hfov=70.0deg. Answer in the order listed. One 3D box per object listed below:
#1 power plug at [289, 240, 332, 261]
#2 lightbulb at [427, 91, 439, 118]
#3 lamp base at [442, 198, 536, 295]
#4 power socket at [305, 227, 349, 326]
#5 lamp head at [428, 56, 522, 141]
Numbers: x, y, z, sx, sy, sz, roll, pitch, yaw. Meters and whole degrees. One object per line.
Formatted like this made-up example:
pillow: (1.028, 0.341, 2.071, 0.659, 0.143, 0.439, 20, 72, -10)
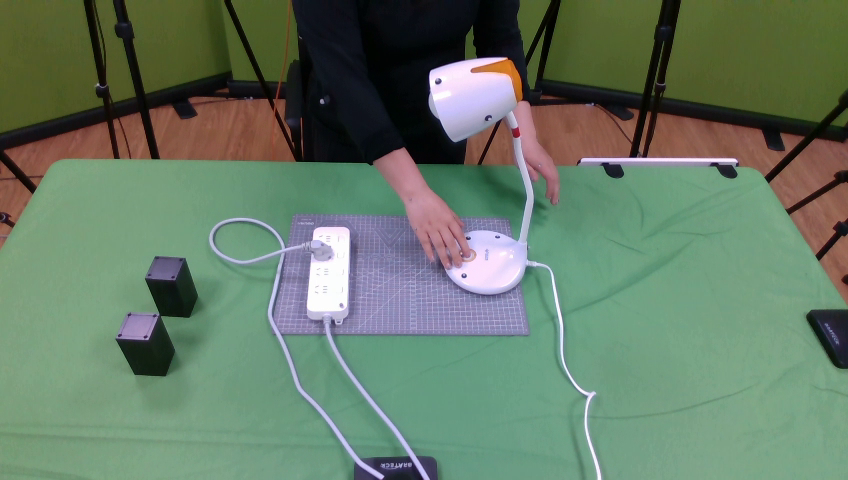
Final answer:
power plug: (-0.207, 0.022, 1.123, 0.072, 0.053, 0.035, 6, 44, 5)
lightbulb: (0.056, -0.213, 0.888, 0.107, 0.060, 0.059, -12, 41, 23)
lamp base: (0.131, -0.013, 1.105, 0.179, 0.181, 0.159, 0, 46, -8)
power socket: (-0.177, 0.058, 1.115, 0.072, 0.033, 0.225, -1, 46, -4)
lamp head: (0.081, -0.212, 0.882, 0.123, 0.113, 0.111, -13, 44, 14)
